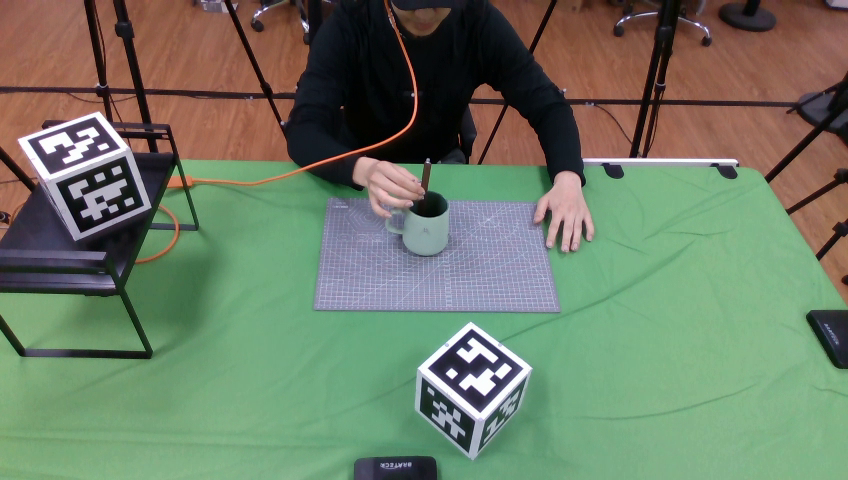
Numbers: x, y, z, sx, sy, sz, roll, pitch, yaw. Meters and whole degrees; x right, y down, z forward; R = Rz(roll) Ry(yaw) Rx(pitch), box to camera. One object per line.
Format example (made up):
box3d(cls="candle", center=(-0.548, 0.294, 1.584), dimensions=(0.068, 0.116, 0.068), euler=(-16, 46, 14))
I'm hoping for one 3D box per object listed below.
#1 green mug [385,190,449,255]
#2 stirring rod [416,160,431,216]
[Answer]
box3d(cls="green mug", center=(-0.013, -0.033, 1.166), dimensions=(0.125, 0.105, 0.092), euler=(1, 46, -2))
box3d(cls="stirring rod", center=(-0.004, -0.081, 1.125), dimensions=(0.014, 0.177, 0.006), euler=(20, 49, 9))
